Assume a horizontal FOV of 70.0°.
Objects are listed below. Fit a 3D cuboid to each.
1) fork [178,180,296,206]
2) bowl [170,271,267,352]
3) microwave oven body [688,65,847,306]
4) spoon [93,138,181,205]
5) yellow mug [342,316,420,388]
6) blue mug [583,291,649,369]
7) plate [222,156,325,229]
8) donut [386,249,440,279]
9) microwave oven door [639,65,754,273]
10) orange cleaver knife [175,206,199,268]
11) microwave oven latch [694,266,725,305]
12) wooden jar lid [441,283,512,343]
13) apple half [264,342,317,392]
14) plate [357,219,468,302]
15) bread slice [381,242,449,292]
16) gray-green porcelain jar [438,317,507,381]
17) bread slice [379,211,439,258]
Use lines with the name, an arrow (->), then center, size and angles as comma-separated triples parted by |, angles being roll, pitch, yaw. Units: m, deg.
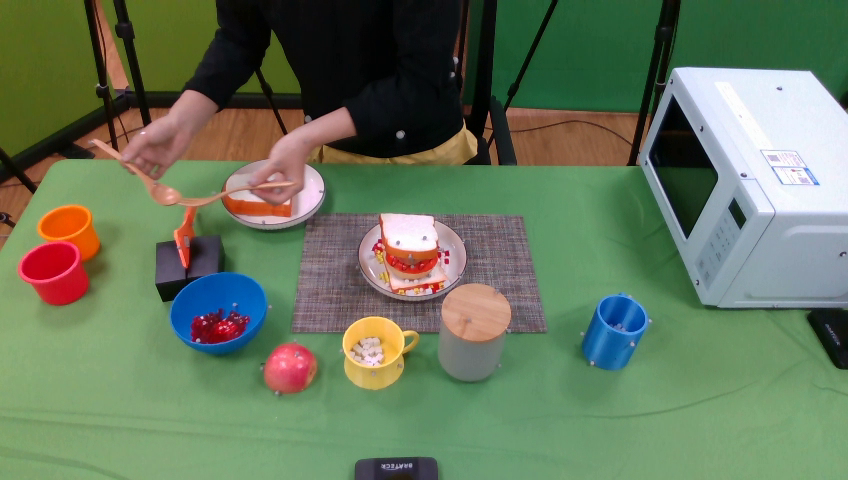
fork -> -0.305, -0.077, 0.983 | 0.207, 0.019, 0.028 | -11, 24, 13
bowl -> -0.333, 0.132, 1.006 | 0.151, 0.077, 0.150 | 2, 46, -2
microwave oven body -> 0.669, -0.111, 1.176 | 0.326, 0.261, 0.439 | 0, 46, -3
spoon -> -0.507, -0.124, 1.068 | 0.193, 0.022, 0.041 | 40, 54, 2
yellow mug -> -0.067, 0.177, 0.990 | 0.131, 0.064, 0.099 | -16, 50, -19
blue mug -> 0.324, 0.142, 1.023 | 0.082, 0.106, 0.116 | 15, 47, 11
plate -> -0.308, -0.095, 1.251 | 0.209, 0.038, 0.208 | 3, 47, -3
donut -> -0.021, 0.029, 1.110 | 0.099, 0.048, 0.098 | 2, 46, -2
microwave oven door -> 0.522, -0.147, 1.192 | 0.039, 0.245, 0.353 | 0, 47, -3
orange cleaver knife -> -0.438, -0.017, 1.138 | 0.012, 0.077, 0.210 | -13, 27, -6
microwave oven latch -> 0.523, 0.082, 1.115 | 0.030, 0.029, 0.078 | 3, 46, 0
wooden jar lid -> 0.080, 0.114, 0.931 | 0.108, 0.021, 0.107 | 1, 49, -1
apple half -> -0.214, 0.198, 0.970 | 0.074, 0.053, 0.080 | 19, 48, 11
plate -> -0.021, 0.037, 1.141 | 0.208, 0.039, 0.206 | 2, 46, -2
bread slice -> -0.027, 0.040, 1.140 | 0.107, 0.018, 0.133 | -12, 48, -15
gray-green porcelain jar -> 0.076, 0.158, 0.977 | 0.106, 0.127, 0.105 | 2, 47, -2
bread slice -> -0.024, -0.012, 1.064 | 0.105, 0.019, 0.130 | 3, 33, -10
